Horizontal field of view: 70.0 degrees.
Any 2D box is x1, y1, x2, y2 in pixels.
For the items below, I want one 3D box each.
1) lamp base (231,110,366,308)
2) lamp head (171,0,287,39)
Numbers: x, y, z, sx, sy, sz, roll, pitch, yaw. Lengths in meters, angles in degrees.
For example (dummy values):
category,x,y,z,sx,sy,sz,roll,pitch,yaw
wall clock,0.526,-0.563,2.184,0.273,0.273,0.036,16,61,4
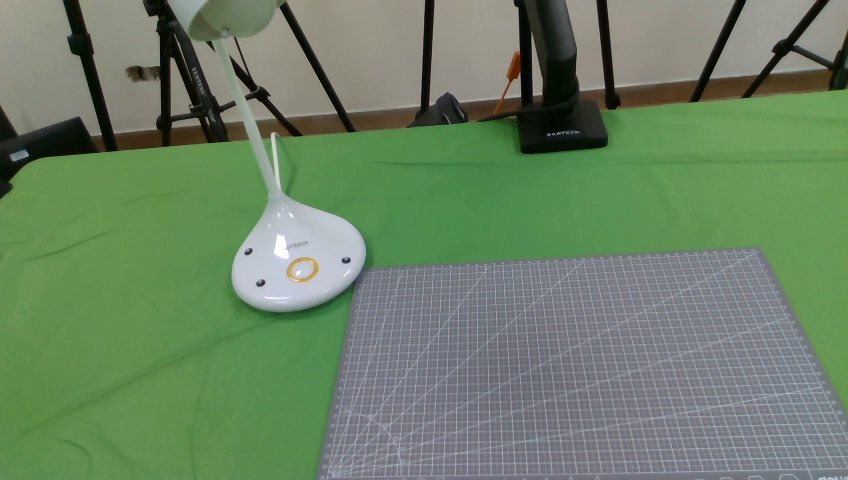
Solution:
category,x,y,z,sx,sy,sz,roll,pitch,yaw
lamp base,-0.164,-0.044,0.680,0.161,0.182,0.177,-24,40,-16
lamp head,-0.164,-0.234,0.468,0.112,0.123,0.112,-34,4,3
